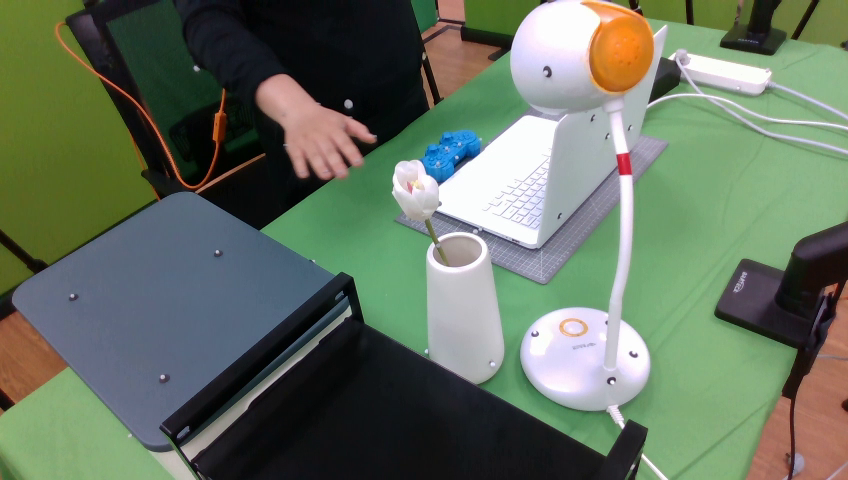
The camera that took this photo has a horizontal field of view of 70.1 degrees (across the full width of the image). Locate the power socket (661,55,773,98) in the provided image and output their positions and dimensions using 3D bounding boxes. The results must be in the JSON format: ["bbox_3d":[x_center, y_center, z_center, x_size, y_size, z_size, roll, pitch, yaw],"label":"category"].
[{"bbox_3d":[0.619,-0.352,1.289,0.225,0.033,0.072,26,51,33],"label":"power socket"}]

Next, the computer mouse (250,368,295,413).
[{"bbox_3d":[-0.196,0.182,0.771,0.063,0.041,0.116,-12,47,-11],"label":"computer mouse"}]

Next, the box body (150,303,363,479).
[{"bbox_3d":[-0.284,0.123,0.765,0.361,0.161,0.255,25,49,33],"label":"box body"}]

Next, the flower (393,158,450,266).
[{"bbox_3d":[0.028,0.035,0.664,0.043,0.364,0.038,36,73,29],"label":"flower"}]

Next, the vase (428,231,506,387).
[{"bbox_3d":[0.050,0.087,0.728,0.098,0.201,0.097,-3,40,3],"label":"vase"}]

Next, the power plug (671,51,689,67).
[{"bbox_3d":[0.541,-0.378,1.301,0.073,0.053,0.035,-33,46,-24],"label":"power plug"}]

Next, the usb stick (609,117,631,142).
[{"bbox_3d":[0.369,-0.208,1.147,0.021,0.027,0.059,25,55,33],"label":"usb stick"}]

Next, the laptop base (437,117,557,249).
[{"bbox_3d":[0.192,-0.117,1.087,0.233,0.023,0.355,21,48,34],"label":"laptop base"}]

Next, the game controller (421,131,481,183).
[{"bbox_3d":[0.040,-0.163,1.144,0.096,0.052,0.155,23,49,29],"label":"game controller"}]

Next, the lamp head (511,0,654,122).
[{"bbox_3d":[0.155,-0.168,0.564,0.113,0.113,0.122,-18,23,-12],"label":"lamp head"}]

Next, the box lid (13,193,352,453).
[{"bbox_3d":[-0.291,0.067,0.716,0.368,0.015,0.264,25,50,33],"label":"box lid"}]

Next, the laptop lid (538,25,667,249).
[{"bbox_3d":[0.281,-0.163,0.942,0.013,0.242,0.358,28,50,27],"label":"laptop lid"}]

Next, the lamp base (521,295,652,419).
[{"bbox_3d":[0.201,0.095,0.710,0.161,0.181,0.177,-16,43,-10],"label":"lamp base"}]
